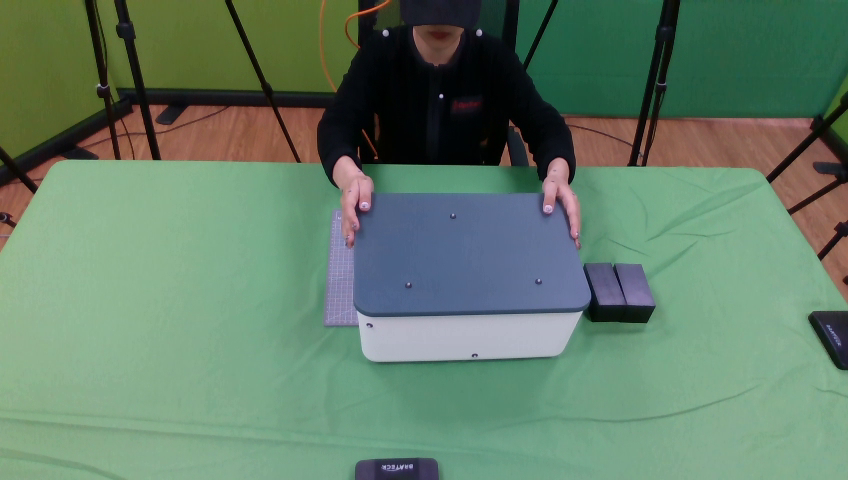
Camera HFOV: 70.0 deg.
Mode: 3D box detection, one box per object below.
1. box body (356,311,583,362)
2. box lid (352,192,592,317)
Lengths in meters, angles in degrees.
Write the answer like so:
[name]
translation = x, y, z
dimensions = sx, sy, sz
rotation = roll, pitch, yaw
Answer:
[box body]
translation = 0.065, 0.066, 1.040
dimensions = 0.364, 0.161, 0.252
rotation = -1, 46, -5
[box lid]
translation = 0.071, 0.014, 0.986
dimensions = 0.372, 0.015, 0.261
rotation = -1, 47, -5
